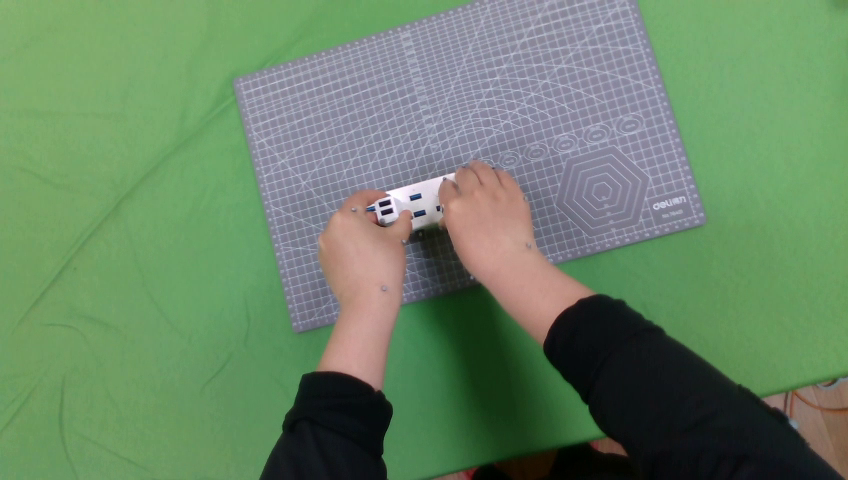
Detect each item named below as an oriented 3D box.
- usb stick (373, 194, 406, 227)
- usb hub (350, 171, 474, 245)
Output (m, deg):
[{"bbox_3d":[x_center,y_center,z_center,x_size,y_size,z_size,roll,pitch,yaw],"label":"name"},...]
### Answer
[{"bbox_3d":[-0.034,-0.029,0.617,0.021,0.059,0.027,-19,81,7],"label":"usb stick"},{"bbox_3d":[-0.014,-0.034,0.644,0.125,0.025,0.049,-14,83,6],"label":"usb hub"}]
